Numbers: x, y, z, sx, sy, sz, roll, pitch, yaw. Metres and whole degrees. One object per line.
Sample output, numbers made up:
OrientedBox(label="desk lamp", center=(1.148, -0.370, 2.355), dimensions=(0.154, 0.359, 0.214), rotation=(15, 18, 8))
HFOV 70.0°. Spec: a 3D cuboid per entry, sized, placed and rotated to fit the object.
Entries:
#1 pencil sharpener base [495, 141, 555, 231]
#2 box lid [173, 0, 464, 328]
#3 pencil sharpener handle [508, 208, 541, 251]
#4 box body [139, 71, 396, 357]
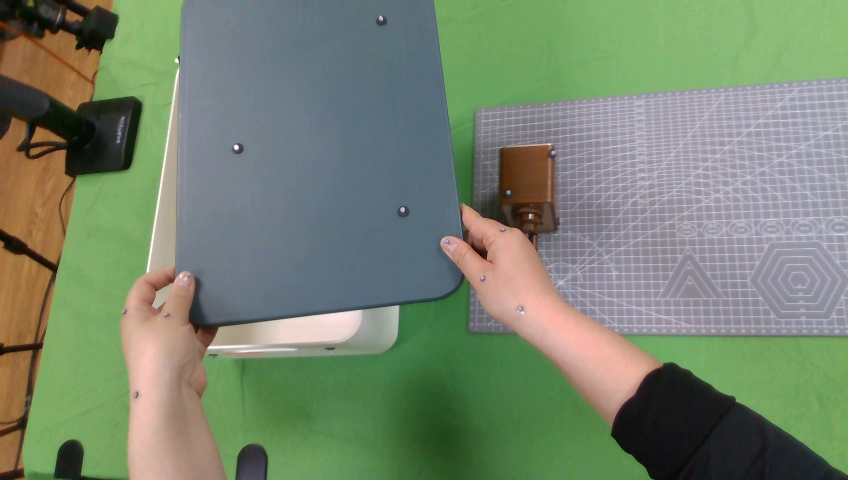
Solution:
OrientedBox(label="pencil sharpener base", center=(0.118, -0.056, 0.698), dimensions=(0.061, 0.108, 0.076), rotation=(-2, 74, 14))
OrientedBox(label="box lid", center=(-0.111, -0.110, 0.583), dimensions=(0.263, 0.015, 0.369), rotation=(-7, 73, 2))
OrientedBox(label="pencil sharpener handle", center=(0.115, -0.010, 0.672), dimensions=(0.036, 0.068, 0.030), rotation=(-5, 72, 23))
OrientedBox(label="box body", center=(-0.167, -0.040, 0.741), dimensions=(0.253, 0.161, 0.362), rotation=(-4, 73, 13))
